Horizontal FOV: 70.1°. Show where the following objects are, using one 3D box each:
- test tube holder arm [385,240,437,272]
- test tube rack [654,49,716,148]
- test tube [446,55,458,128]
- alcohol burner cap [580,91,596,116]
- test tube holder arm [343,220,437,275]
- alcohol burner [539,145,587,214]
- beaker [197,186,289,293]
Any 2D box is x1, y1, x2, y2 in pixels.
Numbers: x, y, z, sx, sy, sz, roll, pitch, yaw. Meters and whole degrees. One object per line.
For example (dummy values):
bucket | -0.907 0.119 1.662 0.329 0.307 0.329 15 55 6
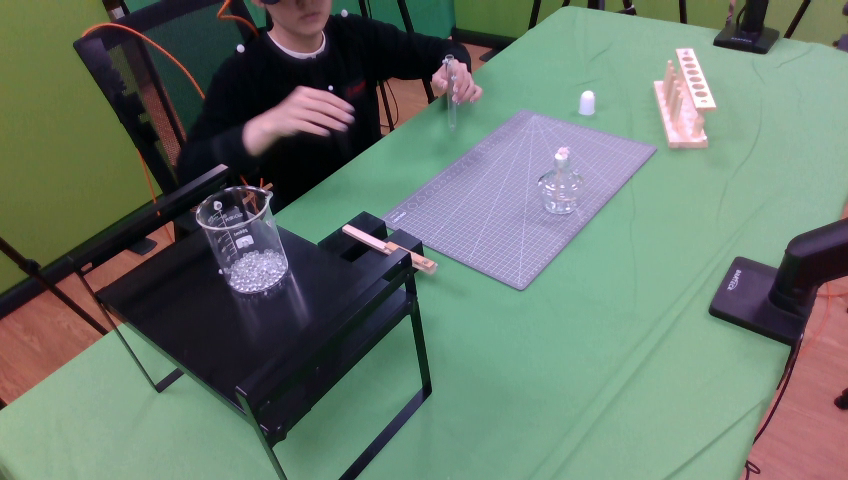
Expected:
test tube holder arm | -0.020 0.022 0.872 0.087 0.010 0.015 26 58 31
test tube rack | 0.502 -0.281 1.176 0.066 0.085 0.241 1 41 11
test tube | 0.052 -0.269 1.111 0.017 0.151 0.017 -3 47 4
alcohol burner cap | 0.338 -0.283 1.238 0.034 0.048 0.033 -5 42 5
test tube holder arm | -0.054 0.009 0.899 0.177 0.013 0.015 26 58 30
alcohol burner | 0.226 -0.102 0.986 0.078 0.119 0.077 -6 41 6
beaker | -0.192 0.001 0.666 0.084 0.101 0.073 -33 47 -27
